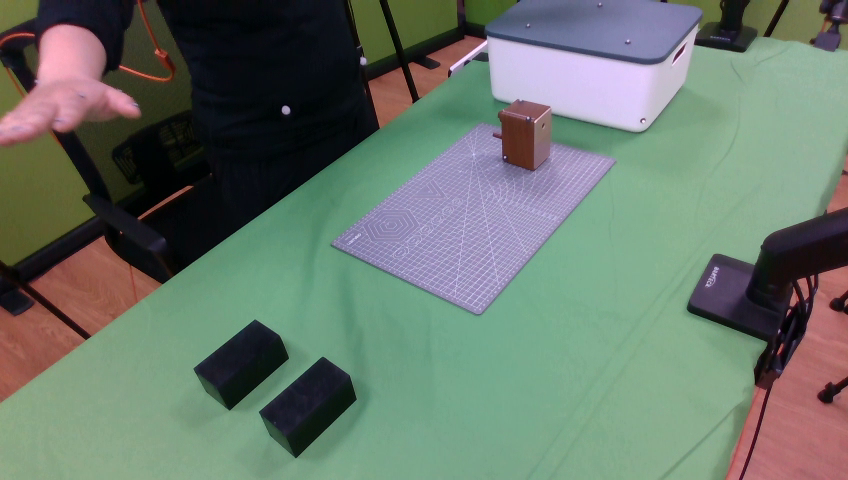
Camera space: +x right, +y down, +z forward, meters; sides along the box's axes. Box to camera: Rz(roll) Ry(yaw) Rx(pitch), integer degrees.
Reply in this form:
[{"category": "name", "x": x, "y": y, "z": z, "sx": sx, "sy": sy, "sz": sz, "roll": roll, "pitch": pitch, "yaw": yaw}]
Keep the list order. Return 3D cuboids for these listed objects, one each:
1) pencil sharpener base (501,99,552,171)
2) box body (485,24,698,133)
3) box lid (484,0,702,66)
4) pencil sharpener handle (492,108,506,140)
[{"category": "pencil sharpener base", "x": 0.184, "y": -0.191, "z": 1.097, "sx": 0.076, "sy": 0.107, "sz": 0.061, "roll": 23, "pitch": 49, "yaw": 32}, {"category": "box body", "x": 0.340, "y": -0.373, "z": 1.251, "sx": 0.361, "sy": 0.161, "sz": 0.255, "roll": 21, "pitch": 48, "yaw": 30}, {"category": "box lid", "x": 0.333, "y": -0.428, "z": 1.202, "sx": 0.368, "sy": 0.015, "sz": 0.264, "roll": 21, "pitch": 48, "yaw": 30}, {"category": "pencil sharpener handle", "x": 0.141, "y": -0.216, "z": 1.114, "sx": 0.030, "sy": 0.068, "sz": 0.036, "roll": 23, "pitch": 41, "yaw": 32}]
